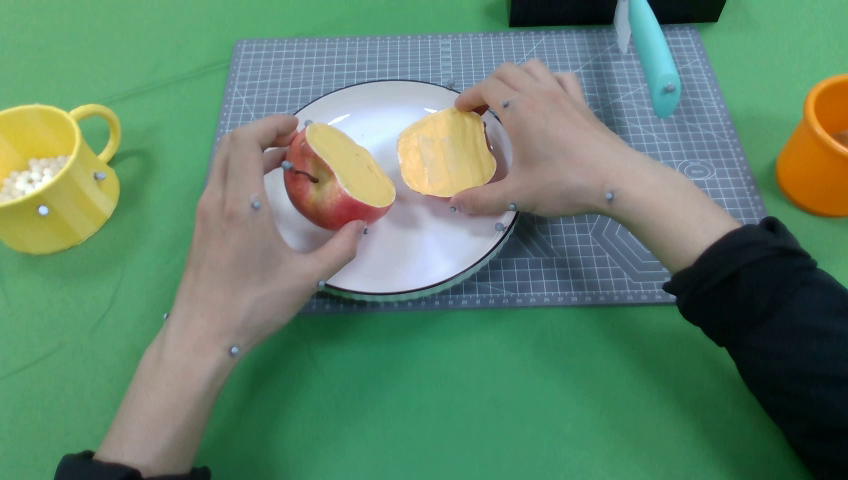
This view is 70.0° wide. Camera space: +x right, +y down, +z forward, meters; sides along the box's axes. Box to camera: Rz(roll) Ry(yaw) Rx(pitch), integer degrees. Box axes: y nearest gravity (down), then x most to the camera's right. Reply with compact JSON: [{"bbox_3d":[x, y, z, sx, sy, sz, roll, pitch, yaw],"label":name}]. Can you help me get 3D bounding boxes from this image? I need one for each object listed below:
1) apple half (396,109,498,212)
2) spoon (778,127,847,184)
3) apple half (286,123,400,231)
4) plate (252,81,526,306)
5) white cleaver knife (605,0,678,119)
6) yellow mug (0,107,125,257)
[{"bbox_3d":[0.018,-0.058,0.474,0.081,0.033,0.081,-1,86,14],"label":"apple half"},{"bbox_3d":[0.356,-0.097,0.435,0.022,0.194,0.041,24,46,-36],"label":"spoon"},{"bbox_3d":[-0.062,-0.038,0.434,0.080,0.053,0.075,46,26,9],"label":"apple half"},{"bbox_3d":[-0.027,-0.039,0.474,0.209,0.038,0.207,-1,58,1],"label":"plate"},{"bbox_3d":[0.188,-0.211,0.558,0.021,0.066,0.283,-4,54,5],"label":"white cleaver knife"},{"bbox_3d":[-0.294,-0.057,0.482,0.099,0.064,0.130,29,62,18],"label":"yellow mug"}]
